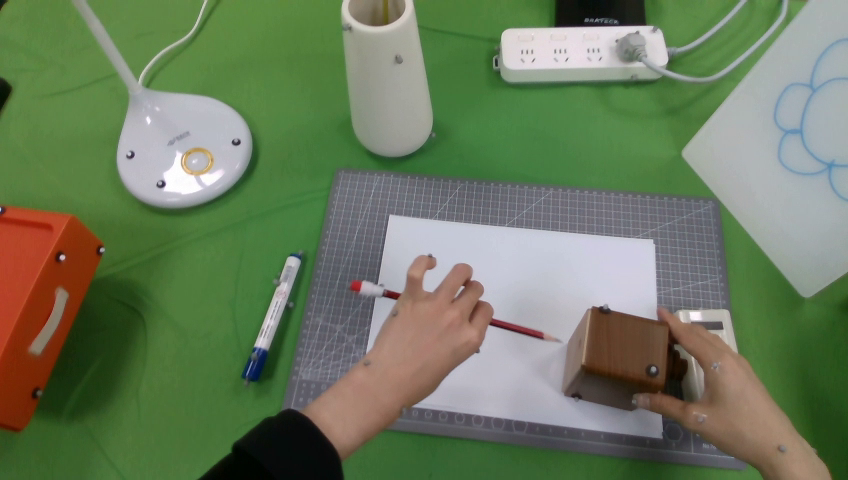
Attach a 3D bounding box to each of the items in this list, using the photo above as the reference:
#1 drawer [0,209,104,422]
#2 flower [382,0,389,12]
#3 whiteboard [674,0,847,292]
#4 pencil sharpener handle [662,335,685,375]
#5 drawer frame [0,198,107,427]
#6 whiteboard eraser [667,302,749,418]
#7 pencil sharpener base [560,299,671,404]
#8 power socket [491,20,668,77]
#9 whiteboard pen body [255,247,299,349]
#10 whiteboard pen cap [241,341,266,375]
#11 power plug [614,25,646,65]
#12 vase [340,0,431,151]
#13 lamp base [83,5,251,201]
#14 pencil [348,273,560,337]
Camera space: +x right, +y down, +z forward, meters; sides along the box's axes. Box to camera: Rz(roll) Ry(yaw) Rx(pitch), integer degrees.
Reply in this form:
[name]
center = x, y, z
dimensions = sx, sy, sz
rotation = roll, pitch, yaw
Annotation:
[drawer]
center = -0.449, 0.055, 0.575
dimensions = 0.211, 0.074, 0.193
rotation = 8, 65, 5
[flower]
center = -0.038, -0.239, 0.601
dimensions = 0.038, 0.365, 0.043
rotation = -6, 45, -9
[whiteboard]
center = 0.450, -0.128, 0.601
dimensions = 0.144, 0.307, 0.215
rotation = -16, 62, -27
[pencil sharpener handle]
center = 0.226, 0.110, 0.549
dimensions = 0.030, 0.068, 0.036
rotation = 12, 72, 7
[drawer frame]
center = -0.455, 0.057, 0.577
dimensions = 0.213, 0.083, 0.200
rotation = 8, 65, 3
[whiteboard eraser]
center = 0.276, 0.117, 0.595
dimensions = 0.055, 0.042, 0.112
rotation = 0, 64, 0
[pencil sharpener base]
center = 0.176, 0.107, 0.565
dimensions = 0.076, 0.108, 0.061
rotation = 12, 64, 7
[power socket]
center = 0.202, -0.248, 0.783
dimensions = 0.227, 0.033, 0.071
rotation = 0, 65, 1
[whiteboard pen body]
center = -0.158, 0.069, 0.642
dimensions = 0.017, 0.017, 0.139
rotation = 9, 61, 7
[whiteboard pen cap]
center = -0.172, 0.119, 0.614
dimensions = 0.018, 0.018, 0.033
rotation = 9, 59, 7
[power plug]
center = 0.252, -0.233, 0.749
dimensions = 0.035, 0.053, 0.072
rotation = 9, 66, 7
[vase]
center = -0.044, -0.187, 0.667
dimensions = 0.098, 0.201, 0.097
rotation = -1, 63, 3
[lamp base]
center = -0.302, -0.158, 0.670
dimensions = 0.178, 0.182, 0.160
rotation = 36, 69, 21
[pencil]
center = 0.028, 0.059, 0.528
dimensions = 0.194, 0.012, 0.012
rotation = 16, 64, -6
